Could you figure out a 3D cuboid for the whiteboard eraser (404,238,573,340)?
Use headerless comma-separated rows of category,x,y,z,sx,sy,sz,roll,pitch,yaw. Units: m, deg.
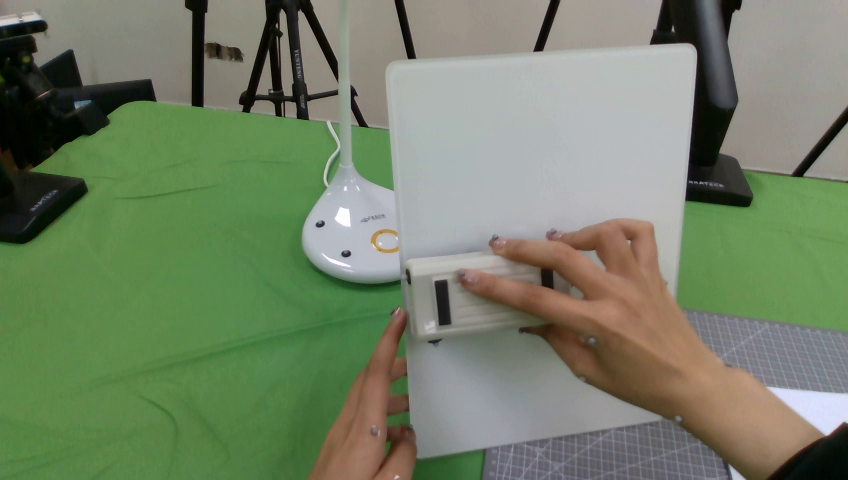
whiteboard eraser,0.044,0.033,0.418,0.113,0.056,0.041,-7,13,-10

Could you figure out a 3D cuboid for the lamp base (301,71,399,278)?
lamp base,-0.064,-0.077,0.650,0.161,0.182,0.177,-24,43,-30

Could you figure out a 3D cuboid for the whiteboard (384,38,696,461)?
whiteboard,0.079,-0.002,0.507,0.217,0.307,0.142,-6,19,-8
